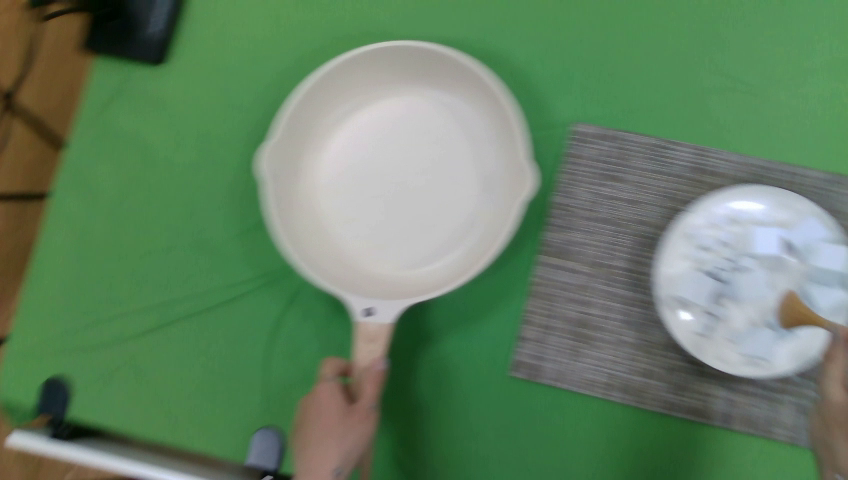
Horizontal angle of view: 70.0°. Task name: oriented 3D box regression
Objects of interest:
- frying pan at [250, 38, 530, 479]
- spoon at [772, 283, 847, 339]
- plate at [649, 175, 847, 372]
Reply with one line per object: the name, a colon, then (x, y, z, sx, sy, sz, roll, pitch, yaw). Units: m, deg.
frying pan: (-0.049, 0.024, 0.659, 0.306, 0.103, 0.485, 6, 76, 7)
spoon: (0.340, 0.070, 0.513, 0.021, 0.193, 0.041, 5, 96, 4)
plate: (0.345, 0.035, 0.650, 0.207, 0.039, 0.207, -1, 84, 6)
